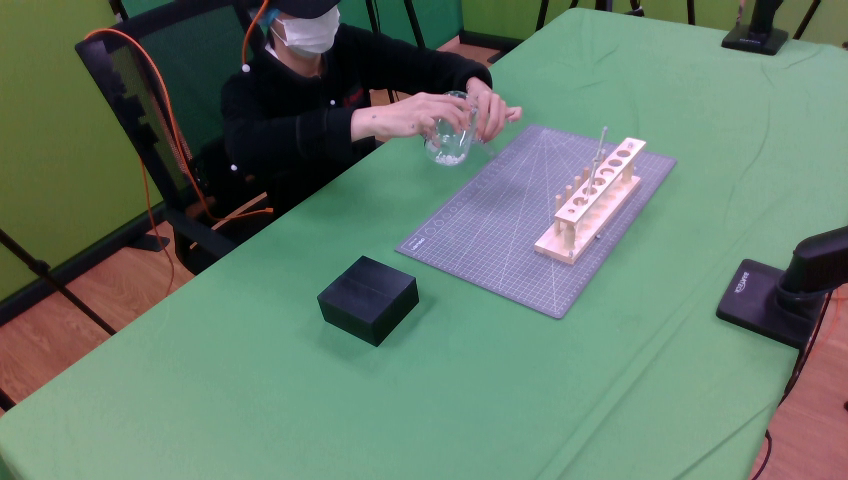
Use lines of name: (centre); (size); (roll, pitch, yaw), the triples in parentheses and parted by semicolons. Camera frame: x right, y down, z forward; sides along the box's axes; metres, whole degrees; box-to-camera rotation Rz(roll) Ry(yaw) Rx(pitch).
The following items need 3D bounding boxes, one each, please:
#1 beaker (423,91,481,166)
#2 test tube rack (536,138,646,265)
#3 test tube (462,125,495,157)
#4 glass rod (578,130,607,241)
beaker: (0.045, -0.172, 0.955); (0.073, 0.084, 0.100); (-1, 52, 27)
test tube rack: (0.268, -0.071, 0.964); (0.066, 0.085, 0.243); (23, 49, 32)
test tube: (0.099, -0.173, 1.075); (0.017, 0.151, 0.017); (-4, 80, 23)
glass rod: (0.240, -0.071, 0.866); (0.008, 0.200, 0.008); (0, 44, 1)
